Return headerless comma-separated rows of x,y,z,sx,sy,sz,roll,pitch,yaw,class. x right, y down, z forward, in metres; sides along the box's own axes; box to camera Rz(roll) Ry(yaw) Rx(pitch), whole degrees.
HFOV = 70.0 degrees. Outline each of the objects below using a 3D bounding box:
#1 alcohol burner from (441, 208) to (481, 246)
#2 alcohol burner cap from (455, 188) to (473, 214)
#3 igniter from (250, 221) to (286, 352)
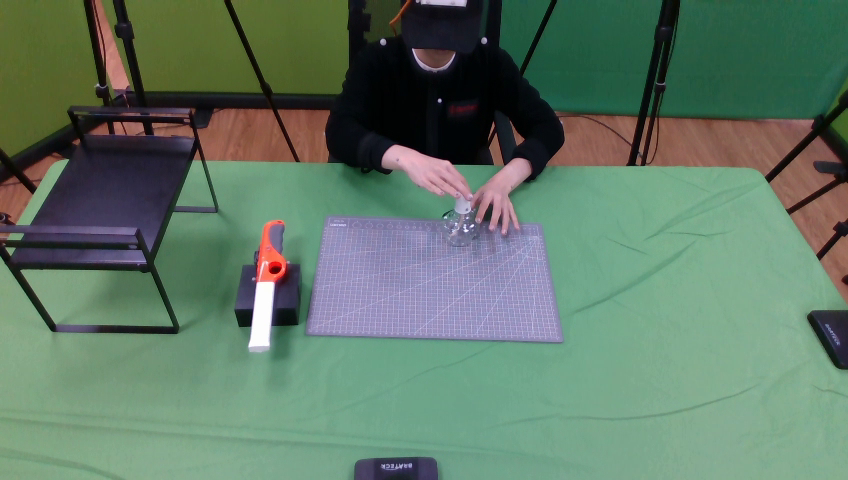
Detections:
0.074,-0.046,1.176,0.078,0.119,0.077,2,44,-2,alcohol burner
0.077,-0.076,1.145,0.034,0.048,0.033,-1,43,1,alcohol burner cap
-0.269,0.068,1.042,0.057,0.025,0.274,0,48,-7,igniter
